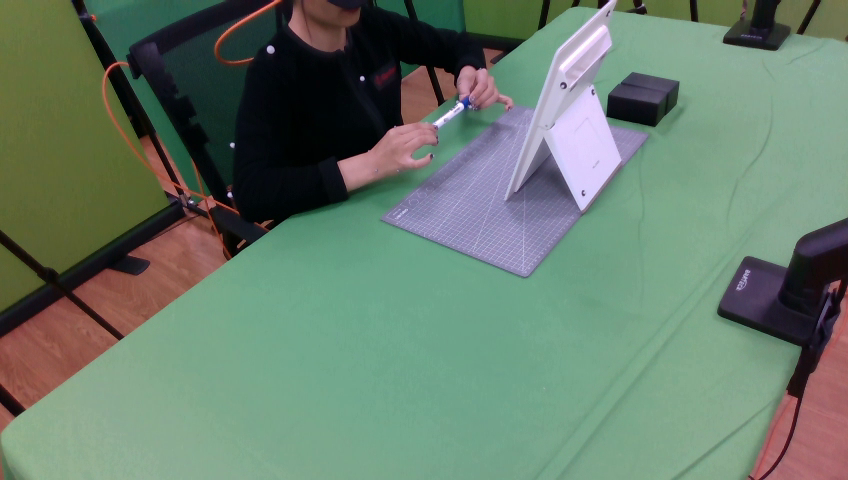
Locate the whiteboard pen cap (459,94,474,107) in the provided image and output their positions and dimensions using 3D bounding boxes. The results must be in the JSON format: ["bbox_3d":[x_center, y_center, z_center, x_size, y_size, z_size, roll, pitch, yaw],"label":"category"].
[{"bbox_3d":[0.080,-0.265,1.161,0.018,0.018,0.033,25,55,34],"label":"whiteboard pen cap"}]

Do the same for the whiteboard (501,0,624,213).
[{"bbox_3d":[0.271,-0.189,0.977,0.143,0.306,0.218,34,53,16],"label":"whiteboard"}]

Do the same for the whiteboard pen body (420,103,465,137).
[{"bbox_3d":[0.042,-0.231,1.131,0.017,0.017,0.141,25,51,34],"label":"whiteboard pen body"}]
